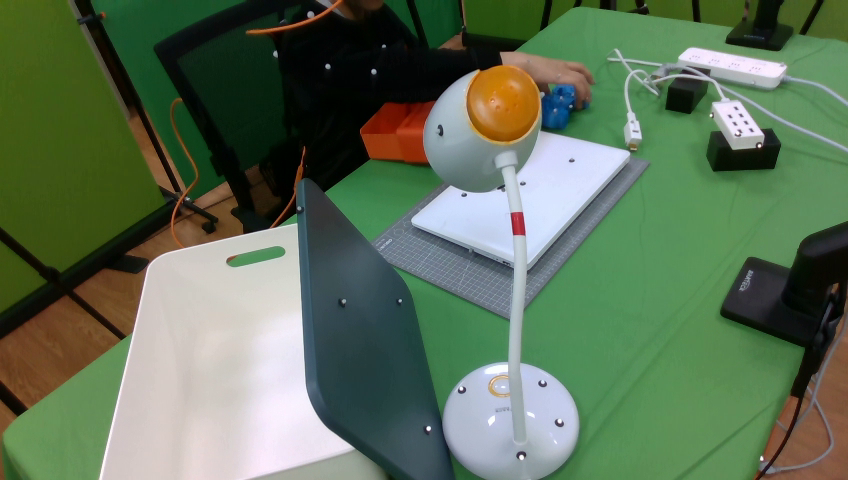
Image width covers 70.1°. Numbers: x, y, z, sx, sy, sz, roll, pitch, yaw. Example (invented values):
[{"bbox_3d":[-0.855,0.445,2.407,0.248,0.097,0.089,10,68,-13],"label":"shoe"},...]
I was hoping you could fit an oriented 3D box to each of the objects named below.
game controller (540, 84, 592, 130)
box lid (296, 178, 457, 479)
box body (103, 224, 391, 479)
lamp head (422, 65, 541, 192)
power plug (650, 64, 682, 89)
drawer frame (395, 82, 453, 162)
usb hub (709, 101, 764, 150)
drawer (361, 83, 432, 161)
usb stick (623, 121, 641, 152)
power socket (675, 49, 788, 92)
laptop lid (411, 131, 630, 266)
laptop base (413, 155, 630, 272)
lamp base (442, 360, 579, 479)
[{"bbox_3d":[0.278,-0.282,1.251,0.096,0.052,0.155,26,52,31],"label":"game controller"},{"bbox_3d":[-0.059,0.103,0.702,0.015,0.265,0.369,-30,39,11],"label":"box lid"},{"bbox_3d":[-0.190,0.161,0.723,0.255,0.161,0.361,-13,40,-5],"label":"box body"},{"bbox_3d":[0.060,-0.106,0.560,0.113,0.112,0.122,-17,0,-8],"label":"lamp head"},{"bbox_3d":[0.499,-0.341,1.263,0.035,0.052,0.072,20,10,-7],"label":"power plug"},{"bbox_3d":[0.085,-0.229,1.170,0.212,0.083,0.201,6,42,26],"label":"drawer frame"},{"bbox_3d":[0.534,-0.199,1.040,0.049,0.025,0.124,-5,39,8],"label":"usb hub"},{"bbox_3d":[0.013,-0.236,1.209,0.210,0.073,0.194,8,44,26],"label":"drawer"},{"bbox_3d":[0.389,-0.191,1.128,0.021,0.027,0.059,8,61,-9],"label":"usb stick"},{"bbox_3d":[0.647,-0.363,1.284,0.225,0.033,0.072,26,53,35],"label":"power socket"},{"bbox_3d":[0.172,-0.094,1.050,0.239,0.013,0.358,23,49,36],"label":"laptop lid"},{"bbox_3d":[0.176,-0.084,1.056,0.233,0.023,0.355,21,48,35],"label":"laptop base"},{"bbox_3d":[0.094,0.158,0.657,0.161,0.181,0.178,-14,42,-5],"label":"lamp base"}]
